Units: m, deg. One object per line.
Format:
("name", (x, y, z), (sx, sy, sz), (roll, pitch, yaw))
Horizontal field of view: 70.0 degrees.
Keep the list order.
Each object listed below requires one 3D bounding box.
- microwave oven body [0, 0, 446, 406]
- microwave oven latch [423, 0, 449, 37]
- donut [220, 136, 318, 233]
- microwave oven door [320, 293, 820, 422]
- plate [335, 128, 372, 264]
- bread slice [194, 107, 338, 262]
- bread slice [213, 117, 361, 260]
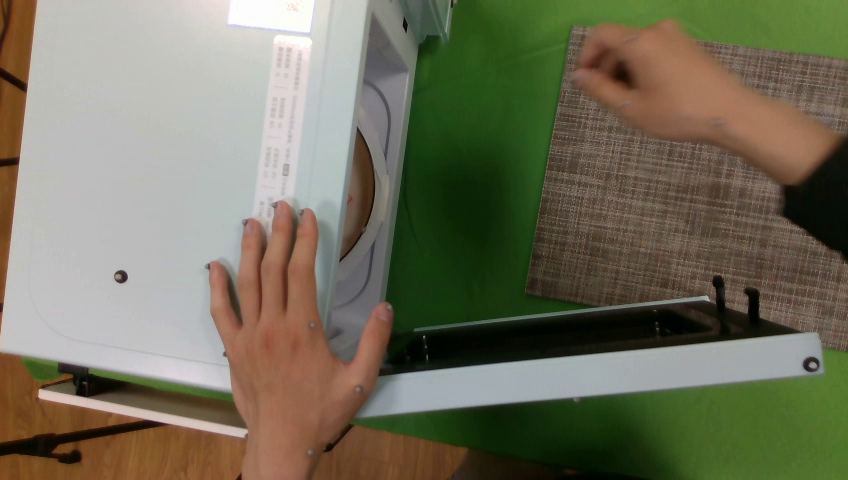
("microwave oven body", (-0.170, -0.108, 0.586), (0.325, 0.260, 0.441), (8, 93, 7))
("microwave oven latch", (0.013, -0.264, 0.656), (0.030, 0.029, 0.079), (8, 93, 7))
("donut", (-0.155, -0.055, 0.608), (0.099, 0.048, 0.099), (0, 91, 2))
("microwave oven door", (0.112, 0.098, 0.548), (0.355, 0.244, 0.039), (-8, 89, 8))
("plate", (-0.154, -0.054, 0.638), (0.207, 0.039, 0.207), (0, 91, 7))
("bread slice", (-0.161, -0.059, 0.581), (0.105, 0.019, 0.131), (-36, 89, 8))
("bread slice", (-0.152, -0.059, 0.638), (0.134, 0.018, 0.107), (44, 87, -7))
